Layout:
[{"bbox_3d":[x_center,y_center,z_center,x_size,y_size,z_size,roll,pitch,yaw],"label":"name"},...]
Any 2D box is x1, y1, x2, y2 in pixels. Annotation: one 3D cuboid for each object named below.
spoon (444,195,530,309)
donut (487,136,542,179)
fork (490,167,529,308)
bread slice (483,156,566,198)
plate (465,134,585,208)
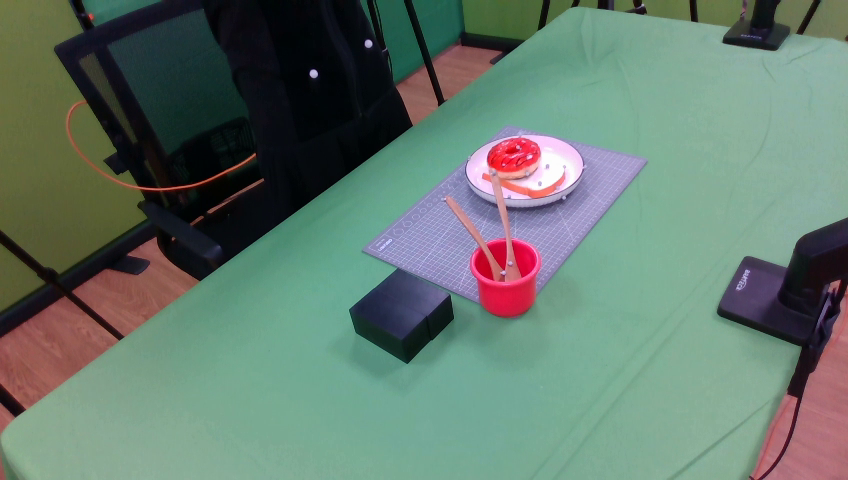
[{"bbox_3d":[0.087,0.015,0.849,0.042,0.021,0.193,-31,89,-31],"label":"spoon"},{"bbox_3d":[0.159,-0.147,1.068,0.099,0.048,0.098,-9,39,8],"label":"donut"},{"bbox_3d":[0.118,-0.006,0.857,0.028,0.018,0.206,-7,81,-14],"label":"fork"},{"bbox_3d":[0.187,-0.120,1.077,0.130,0.019,0.105,27,53,37],"label":"bread slice"},{"bbox_3d":[0.178,-0.120,1.075,0.209,0.038,0.208,-5,40,5],"label":"plate"}]
